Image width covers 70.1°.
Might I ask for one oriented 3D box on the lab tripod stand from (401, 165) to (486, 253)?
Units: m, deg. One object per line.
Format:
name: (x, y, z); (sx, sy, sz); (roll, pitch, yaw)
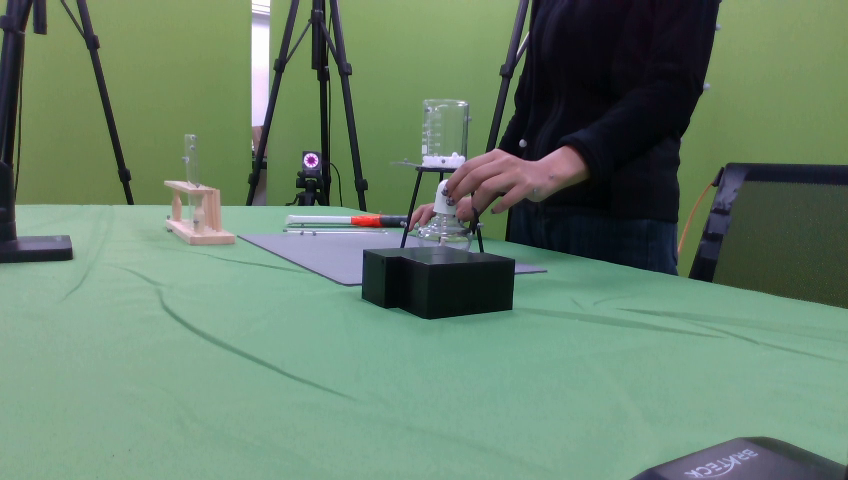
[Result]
lab tripod stand: (0.028, -0.049, 0.930); (0.148, 0.131, 0.148); (3, 9, 0)

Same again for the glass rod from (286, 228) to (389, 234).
glass rod: (-0.154, -0.016, 1.101); (0.201, 0.008, 0.008); (1, 6, -31)

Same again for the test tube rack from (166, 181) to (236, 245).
test tube rack: (-0.383, -0.051, 1.024); (0.067, 0.085, 0.241); (-2, 9, -31)

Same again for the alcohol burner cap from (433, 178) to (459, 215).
alcohol burner cap: (0.031, -0.059, 0.806); (0.034, 0.048, 0.034); (8, 11, -1)

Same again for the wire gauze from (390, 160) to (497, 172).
wire gauze: (0.027, -0.114, 0.920); (0.122, 0.011, 0.124); (-5, 13, -34)

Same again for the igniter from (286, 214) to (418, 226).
igniter: (-0.146, -0.043, 1.263); (0.278, 0.025, 0.057); (-1, -2, -24)

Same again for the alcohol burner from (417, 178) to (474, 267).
alcohol burner: (0.029, -0.024, 0.810); (0.078, 0.119, 0.078); (1, 8, 0)

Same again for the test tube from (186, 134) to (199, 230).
test tube: (-0.360, -0.089, 0.946); (0.017, 0.150, 0.017); (0, 10, 0)

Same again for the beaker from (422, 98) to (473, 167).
beaker: (0.031, -0.162, 0.919); (0.074, 0.100, 0.083); (-4, 10, -36)
